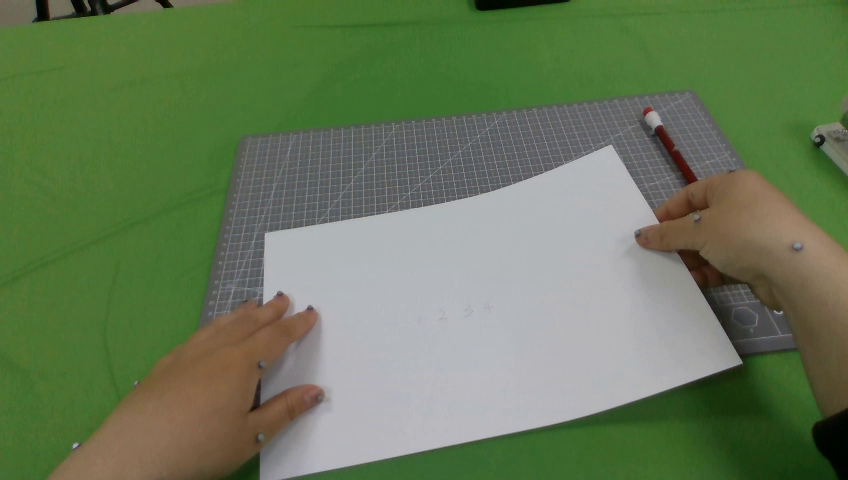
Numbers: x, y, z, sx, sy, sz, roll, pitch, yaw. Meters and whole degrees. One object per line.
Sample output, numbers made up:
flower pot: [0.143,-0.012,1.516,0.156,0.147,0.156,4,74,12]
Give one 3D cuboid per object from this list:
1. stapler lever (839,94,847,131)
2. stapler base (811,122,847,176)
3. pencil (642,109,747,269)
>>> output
stapler lever: [0.374,-0.078,0.479,0.027,0.040,0.117,-11,49,-2]
stapler base: [0.375,-0.062,0.499,0.041,0.025,0.129,-11,49,-2]
pencil: [0.223,-0.050,0.508,0.012,0.012,0.192,-9,49,-3]
